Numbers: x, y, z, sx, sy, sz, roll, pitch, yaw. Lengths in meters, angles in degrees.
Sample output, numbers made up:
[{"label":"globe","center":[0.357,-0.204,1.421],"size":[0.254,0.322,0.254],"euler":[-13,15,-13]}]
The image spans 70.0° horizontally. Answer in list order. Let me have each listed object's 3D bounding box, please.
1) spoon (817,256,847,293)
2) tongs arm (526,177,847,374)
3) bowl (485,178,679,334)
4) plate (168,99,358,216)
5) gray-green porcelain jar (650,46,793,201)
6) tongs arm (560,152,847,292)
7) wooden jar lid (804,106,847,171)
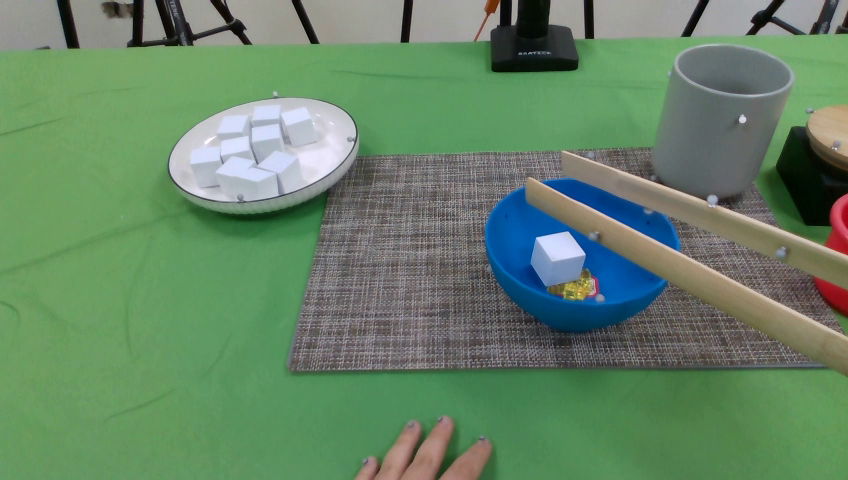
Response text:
[{"label":"spoon","center":[0.410,0.001,0.465],"size":[0.022,0.193,0.041],"euler":[42,44,-18]},{"label":"tongs arm","center":[0.210,0.042,0.342],"size":[0.028,0.028,0.383],"euler":[-35,47,-29]},{"label":"bowl","center":[0.124,0.024,0.502],"size":[0.151,0.077,0.150],"euler":[-2,42,2]},{"label":"plate","center":[-0.176,-0.092,0.681],"size":[0.209,0.038,0.207],"euler":[-2,43,3]},{"label":"gray-green porcelain jar","center":[0.287,-0.111,0.603],"size":[0.106,0.128,0.105],"euler":[-2,43,2]},{"label":"tongs arm","center":[0.230,0.027,0.353],"size":[0.381,0.027,0.050],"euler":[28,55,35]},{"label":"wooden jar lid","center":[0.427,-0.095,0.587],"size":[0.108,0.021,0.107],"euler":[-2,42,3]}]
